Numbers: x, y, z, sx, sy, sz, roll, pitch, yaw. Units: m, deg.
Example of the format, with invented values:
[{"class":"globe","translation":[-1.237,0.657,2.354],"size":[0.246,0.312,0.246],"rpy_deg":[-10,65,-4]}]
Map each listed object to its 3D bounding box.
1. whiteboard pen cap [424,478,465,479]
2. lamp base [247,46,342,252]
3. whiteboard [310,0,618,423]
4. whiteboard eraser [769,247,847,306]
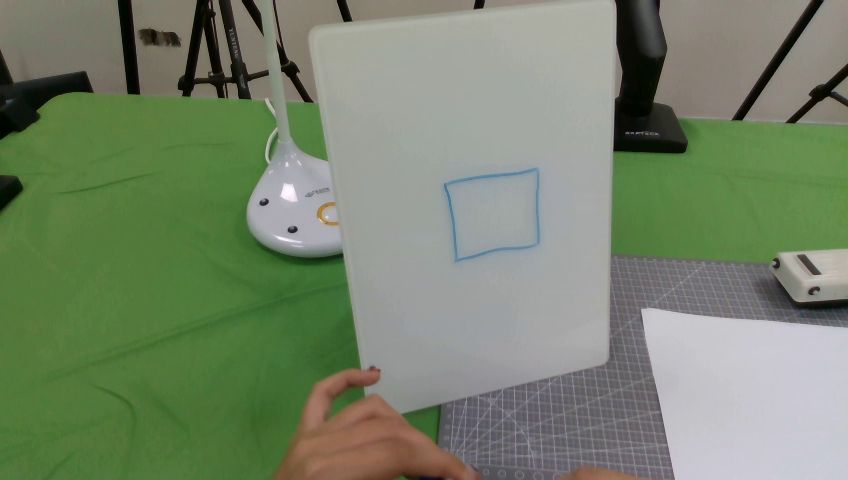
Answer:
[{"class":"whiteboard pen cap","translation":[0.016,0.139,0.332],"size":[0.033,0.018,0.018],"rpy_deg":[-8,36,22]},{"class":"lamp base","translation":[-0.128,-0.105,0.650],"size":[0.161,0.182,0.177],"rpy_deg":[-31,47,-32]},{"class":"whiteboard","translation":[0.030,-0.035,0.517],"size":[0.218,0.307,0.142],"rpy_deg":[-10,22,-11]},{"class":"whiteboard eraser","translation":[0.406,0.036,0.593],"size":[0.113,0.042,0.055],"rpy_deg":[-2,41,-3]}]
